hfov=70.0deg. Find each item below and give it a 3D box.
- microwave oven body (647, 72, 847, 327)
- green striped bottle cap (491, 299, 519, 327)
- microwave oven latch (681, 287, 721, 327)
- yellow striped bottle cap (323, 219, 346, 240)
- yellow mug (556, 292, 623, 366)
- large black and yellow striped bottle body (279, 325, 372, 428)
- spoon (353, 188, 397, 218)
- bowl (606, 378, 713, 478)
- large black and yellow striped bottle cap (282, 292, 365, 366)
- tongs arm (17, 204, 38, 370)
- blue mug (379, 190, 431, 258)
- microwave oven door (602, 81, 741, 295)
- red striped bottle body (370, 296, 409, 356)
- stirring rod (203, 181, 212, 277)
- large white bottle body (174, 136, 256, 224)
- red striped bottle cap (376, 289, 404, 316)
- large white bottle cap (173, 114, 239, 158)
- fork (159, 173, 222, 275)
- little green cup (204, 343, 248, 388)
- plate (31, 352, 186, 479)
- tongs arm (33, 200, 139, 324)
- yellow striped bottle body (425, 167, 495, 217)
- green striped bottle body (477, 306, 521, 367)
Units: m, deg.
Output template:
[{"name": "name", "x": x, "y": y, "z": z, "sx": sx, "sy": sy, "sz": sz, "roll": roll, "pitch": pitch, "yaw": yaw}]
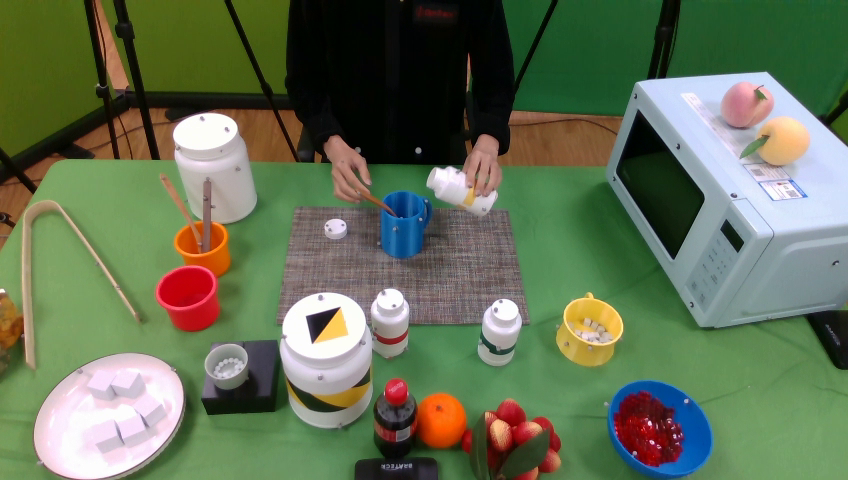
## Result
[{"name": "microwave oven body", "x": 0.607, "y": -0.089, "z": 1.164, "sx": 0.326, "sy": 0.261, "sz": 0.438, "roll": -7, "pitch": 46, "yaw": -10}, {"name": "green striped bottle cap", "x": 0.128, "y": 0.115, "z": 0.958, "sx": 0.044, "sy": 0.020, "sz": 0.044, "roll": 1, "pitch": 47, "yaw": -1}, {"name": "microwave oven latch", "x": 0.494, "y": 0.119, "z": 1.087, "sx": 0.030, "sy": 0.029, "sz": 0.078, "roll": -6, "pitch": 46, "yaw": -9}, {"name": "yellow striped bottle cap", "x": -0.179, "y": -0.022, "z": 1.205, "sx": 0.044, "sy": 0.019, "sz": 0.044, "roll": 2, "pitch": 46, "yaw": -2}, {"name": "yellow mug", "x": 0.285, "y": 0.145, "z": 1.051, "sx": 0.100, "sy": 0.064, "sz": 0.130, "roll": 7, "pitch": 45, "yaw": 3}, {"name": "large black and yellow striped bottle body", "x": -0.143, "y": 0.181, "z": 0.900, "sx": 0.131, "sy": 0.185, "sz": 0.130, "roll": 2, "pitch": 46, "yaw": -2}, {"name": "spoon", "x": -0.069, "y": -0.053, "z": 1.121, "sx": 0.021, "sy": 0.195, "sz": 0.041, "roll": -36, "pitch": 51, "yaw": 11}, {"name": "bowl", "x": 0.340, "y": 0.292, "z": 0.906, "sx": 0.151, "sy": 0.077, "sz": 0.150, "roll": 2, "pitch": 46, "yaw": -2}, {"name": "large black and yellow striped bottle cap", "x": -0.138, "y": 0.121, "z": 0.841, "sx": 0.115, "sy": 0.019, "sz": 0.114, "roll": 3, "pitch": 47, "yaw": -3}, {"name": "tongs arm", "x": -0.698, "y": 0.070, "z": 1.068, "sx": 0.028, "sy": 0.028, "sz": 0.385, "roll": -20, "pitch": 50, "yaw": -13}, {"name": "blue mug", "x": -0.032, "y": -0.037, "z": 1.168, "sx": 0.116, "sy": 0.106, "sz": 0.082, "roll": -30, "pitch": 56, "yaw": -28}, {"name": "microwave oven door", "x": 0.456, "y": -0.107, "z": 1.162, "sx": 0.039, "sy": 0.245, "sz": 0.353, "roll": -6, "pitch": 47, "yaw": -11}, {"name": "red striped bottle body", "x": -0.058, "y": 0.134, "z": 0.997, "sx": 0.063, "sy": 0.120, "sz": 0.062, "roll": 4, "pitch": 47, "yaw": -4}, {"name": "stirring rod", "x": -0.396, "y": -0.021, "z": 1.108, "sx": 0.014, "sy": 0.006, "sz": 0.176, "roll": -1, "pitch": 89, "yaw": -1}, {"name": "large white bottle body", "x": -0.408, "y": -0.136, "z": 1.183, "sx": 0.131, "sy": 0.185, "sz": 0.130, "roll": 2, "pitch": 46, "yaw": -2}, {"name": "red striped bottle cap", "x": -0.054, "y": 0.098, "z": 0.958, "sx": 0.044, "sy": 0.018, "sz": 0.044, "roll": 0, "pitch": 48, "yaw": 1}, {"name": "large white bottle cap", "x": -0.403, "y": -0.195, "z": 1.122, "sx": 0.115, "sy": 0.018, "sz": 0.114, "roll": 2, "pitch": 47, "yaw": -2}, {"name": "fork", "x": -0.427, "y": -0.029, "z": 1.103, "sx": 0.028, "sy": 0.018, "sz": 0.207, "roll": -31, "pitch": 99, "yaw": -30}, {"name": "little green cup", "x": -0.294, "y": 0.190, "z": 0.909, "sx": 0.061, "sy": 0.039, "sz": 0.061, "roll": 1, "pitch": 48, "yaw": -1}, {"name": "plate", "x": -0.459, "y": 0.262, "z": 0.898, "sx": 0.209, "sy": 0.038, "sz": 0.208, "roll": 2, "pitch": 46, "yaw": -2}, {"name": "tongs arm", "x": -0.622, "y": 0.034, "z": 1.105, "sx": 0.051, "sy": 0.026, "sz": 0.382, "roll": -32, "pitch": 56, "yaw": -26}, {"name": "yellow striped bottle body", "x": 0.063, "y": -0.091, "z": 1.099, "sx": 0.120, "sy": 0.063, "sz": 0.062, "roll": 21, "pitch": 43, "yaw": -18}, {"name": "green striped bottle body", "x": 0.124, "y": 0.151, "z": 0.995, "sx": 0.063, "sy": 0.120, "sz": 0.063, "roll": 2, "pitch": 46, "yaw": -1}]
